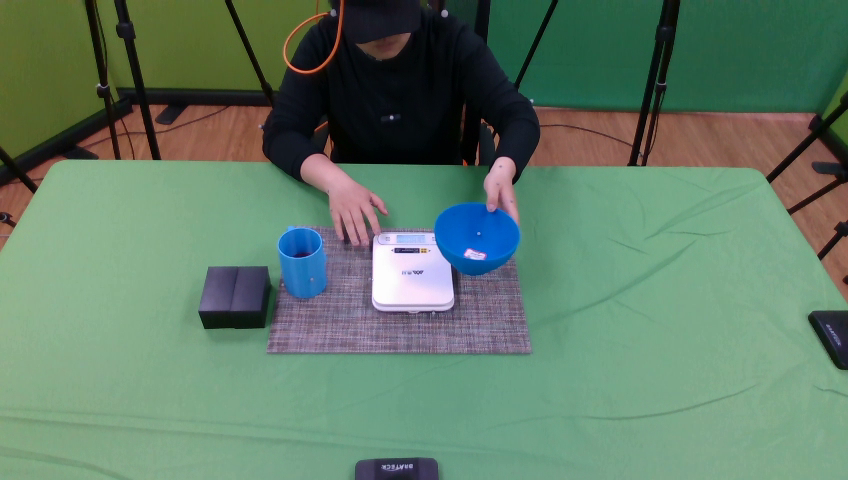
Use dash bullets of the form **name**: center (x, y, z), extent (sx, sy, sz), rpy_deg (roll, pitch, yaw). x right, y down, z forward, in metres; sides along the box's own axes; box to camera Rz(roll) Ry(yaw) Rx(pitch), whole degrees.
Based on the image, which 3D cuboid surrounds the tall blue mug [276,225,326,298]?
- **tall blue mug**: center (-0.228, 0.033, 1.083), extent (0.107, 0.108, 0.077), rpy_deg (30, 53, 23)

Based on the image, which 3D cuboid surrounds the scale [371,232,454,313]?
- **scale**: center (-0.023, 0.051, 1.134), extent (0.149, 0.032, 0.199), rpy_deg (1, 46, -4)

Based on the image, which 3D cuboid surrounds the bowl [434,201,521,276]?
- **bowl**: center (0.090, 0.009, 1.061), extent (0.151, 0.077, 0.150), rpy_deg (2, 43, -2)
